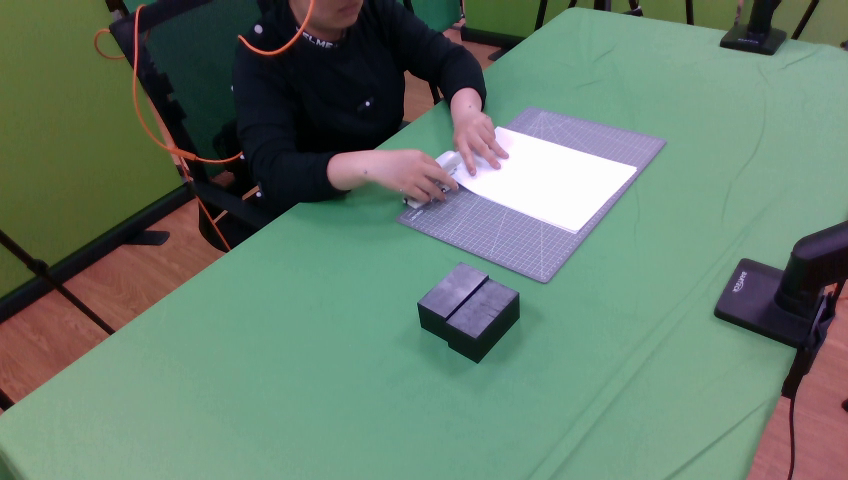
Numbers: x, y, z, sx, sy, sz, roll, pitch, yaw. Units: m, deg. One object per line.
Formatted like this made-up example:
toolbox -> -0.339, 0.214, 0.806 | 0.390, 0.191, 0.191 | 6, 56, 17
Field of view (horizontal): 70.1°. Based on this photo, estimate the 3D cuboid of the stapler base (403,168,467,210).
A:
stapler base -> 0.021, -0.100, 1.087 | 0.131, 0.024, 0.041 | -36, 45, -26

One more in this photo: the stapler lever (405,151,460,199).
stapler lever -> 0.017, -0.118, 1.070 | 0.118, 0.040, 0.026 | -35, 44, -26
